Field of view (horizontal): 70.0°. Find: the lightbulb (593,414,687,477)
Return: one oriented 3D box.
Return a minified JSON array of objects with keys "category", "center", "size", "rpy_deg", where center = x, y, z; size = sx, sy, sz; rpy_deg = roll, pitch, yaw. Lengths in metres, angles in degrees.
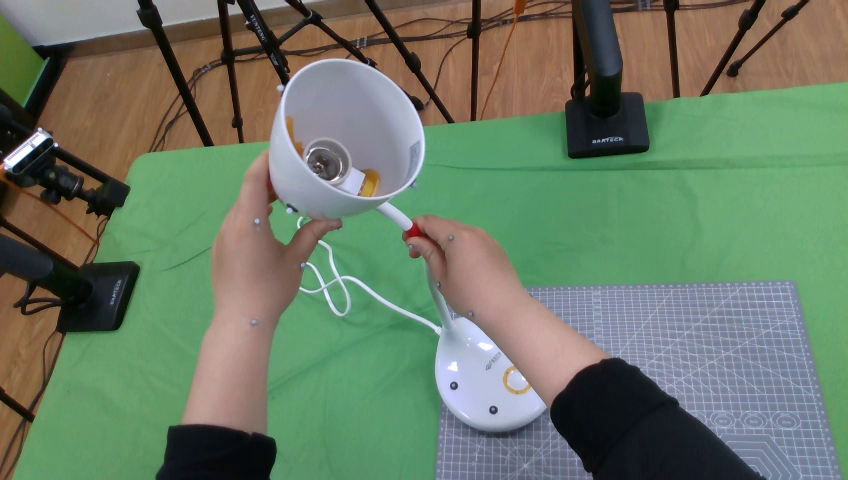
[{"category":"lightbulb","center":[0.245,0.228,0.693],"size":[0.107,0.060,0.059],"rpy_deg":[16,64,40]}]

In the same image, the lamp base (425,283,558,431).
[{"category":"lamp base","center":[0.064,0.123,0.725],"size":[0.178,0.182,0.160],"rpy_deg":[22,66,28]}]

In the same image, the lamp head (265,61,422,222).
[{"category":"lamp head","center":[-0.073,-0.061,0.482],"size":[0.113,0.123,0.111],"rpy_deg":[10,66,-22]}]
